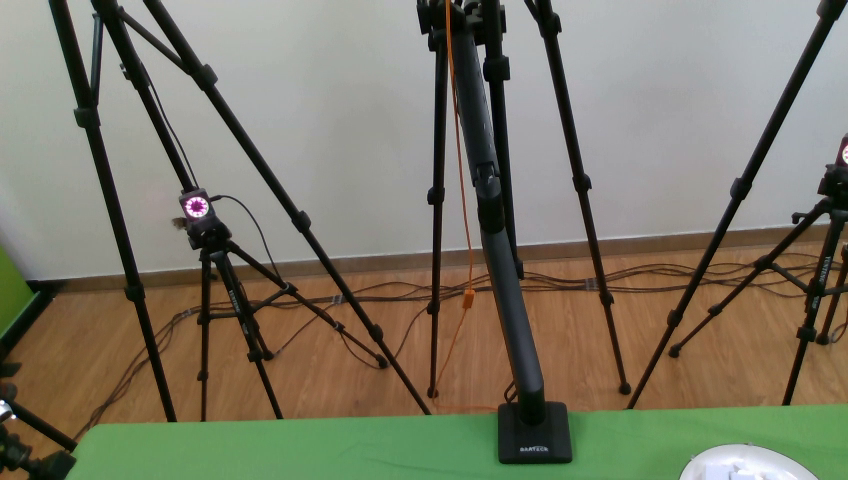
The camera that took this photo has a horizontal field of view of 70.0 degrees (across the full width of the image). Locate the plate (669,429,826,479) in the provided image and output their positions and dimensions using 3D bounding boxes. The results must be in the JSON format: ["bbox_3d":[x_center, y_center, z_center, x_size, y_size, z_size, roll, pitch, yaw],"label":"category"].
[{"bbox_3d":[0.440,0.354,0.817,0.207,0.039,0.205,-5,38,5],"label":"plate"}]
